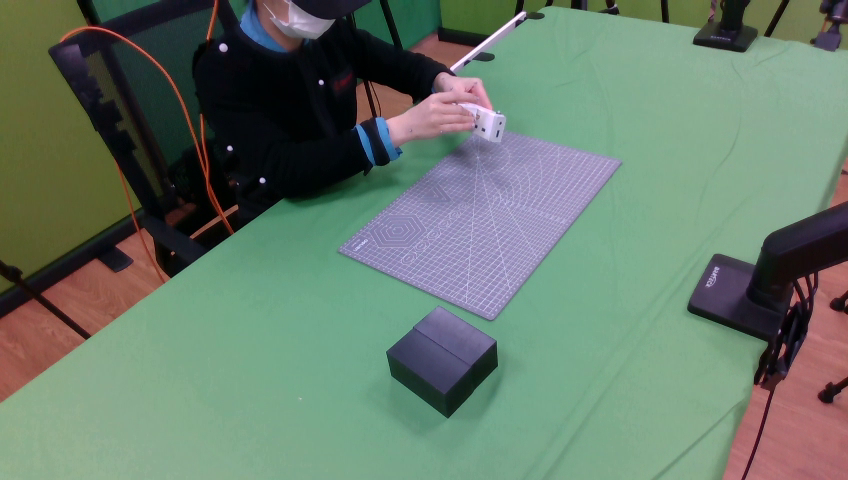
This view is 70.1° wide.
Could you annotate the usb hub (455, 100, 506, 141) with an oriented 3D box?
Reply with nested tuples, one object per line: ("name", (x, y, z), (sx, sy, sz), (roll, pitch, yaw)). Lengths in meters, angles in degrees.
("usb hub", (0.103, -0.222, 1.114), (0.025, 0.049, 0.124), (-4, 26, -32))

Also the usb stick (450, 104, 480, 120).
("usb stick", (0.078, -0.231, 1.088), (0.059, 0.027, 0.021), (-1, 20, -24))
